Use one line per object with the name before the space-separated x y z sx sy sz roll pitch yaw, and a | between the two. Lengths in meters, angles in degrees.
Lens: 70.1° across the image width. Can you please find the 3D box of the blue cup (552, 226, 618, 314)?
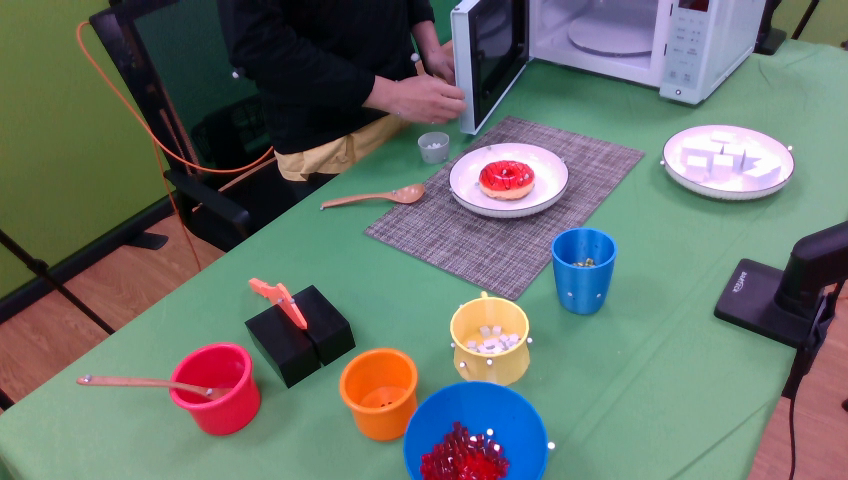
blue cup | 0.218 0.047 0.826 0.092 0.100 0.092 -6 40 5

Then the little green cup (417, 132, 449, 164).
little green cup | 0.019 -0.177 1.169 0.061 0.039 0.061 -4 40 4

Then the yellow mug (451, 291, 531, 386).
yellow mug | 0.085 0.120 0.786 0.100 0.064 0.130 -7 39 1

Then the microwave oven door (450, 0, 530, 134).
microwave oven door | 0.146 -0.412 1.240 0.039 0.245 0.356 13 44 22

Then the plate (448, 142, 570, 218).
plate | 0.148 -0.101 1.053 0.209 0.038 0.208 -4 40 4

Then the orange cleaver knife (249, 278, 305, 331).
orange cleaver knife | -0.210 0.088 0.856 0.012 0.077 0.210 -28 15 -25

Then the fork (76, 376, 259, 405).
fork | -0.295 0.176 0.716 0.209 0.018 0.028 19 27 -36

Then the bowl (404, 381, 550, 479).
bowl | 0.058 0.235 0.645 0.151 0.077 0.150 -4 39 4

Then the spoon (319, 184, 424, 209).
spoon | -0.094 -0.075 1.074 0.193 0.022 0.041 -5 57 5

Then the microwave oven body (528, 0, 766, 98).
microwave oven body | 0.472 -0.513 1.317 0.438 0.261 0.327 26 51 34

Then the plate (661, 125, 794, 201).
plate | 0.513 -0.128 1.035 0.207 0.039 0.206 -4 40 4

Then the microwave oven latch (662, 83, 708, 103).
microwave oven latch | 0.517 -0.296 1.204 0.078 0.029 0.030 27 52 35

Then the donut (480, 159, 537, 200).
donut | 0.145 -0.106 1.042 0.099 0.048 0.098 -4 38 4
